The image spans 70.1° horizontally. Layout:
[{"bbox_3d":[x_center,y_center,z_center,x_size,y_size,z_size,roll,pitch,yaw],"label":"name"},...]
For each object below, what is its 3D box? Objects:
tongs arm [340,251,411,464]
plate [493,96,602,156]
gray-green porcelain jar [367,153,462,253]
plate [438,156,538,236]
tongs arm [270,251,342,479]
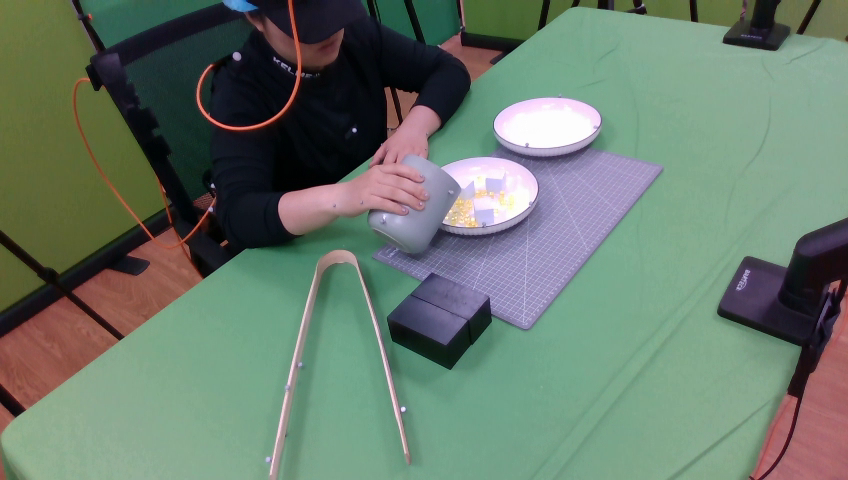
[{"bbox_3d":[-0.071,0.136,0.830,0.028,0.028,0.384,-18,40,-6],"label":"tongs arm"},{"bbox_3d":[0.238,-0.218,1.180,0.209,0.038,0.208,-5,39,4],"label":"plate"},{"bbox_3d":[-0.019,-0.052,0.922,0.105,0.107,0.126,26,79,34],"label":"gray-green porcelain jar"},{"bbox_3d":[0.090,-0.072,1.034,0.207,0.039,0.206,-5,40,5],"label":"plate"},{"bbox_3d":[-0.152,0.148,0.826,0.051,0.026,0.382,-6,39,3],"label":"tongs arm"}]
